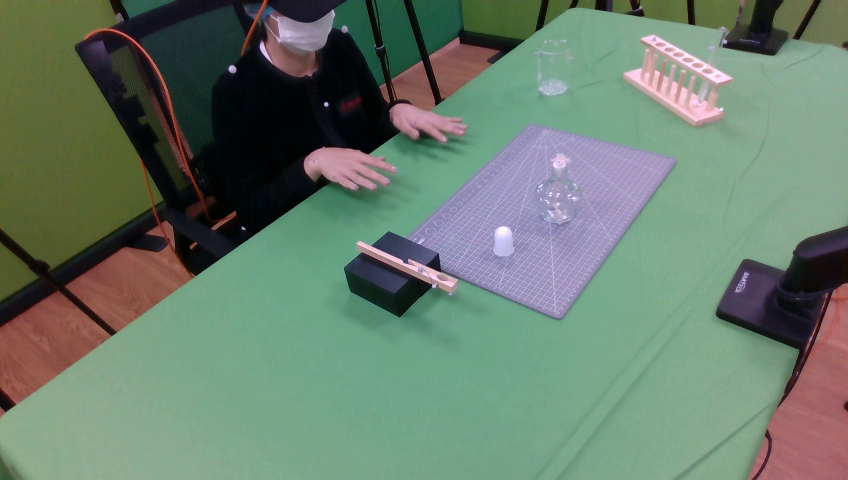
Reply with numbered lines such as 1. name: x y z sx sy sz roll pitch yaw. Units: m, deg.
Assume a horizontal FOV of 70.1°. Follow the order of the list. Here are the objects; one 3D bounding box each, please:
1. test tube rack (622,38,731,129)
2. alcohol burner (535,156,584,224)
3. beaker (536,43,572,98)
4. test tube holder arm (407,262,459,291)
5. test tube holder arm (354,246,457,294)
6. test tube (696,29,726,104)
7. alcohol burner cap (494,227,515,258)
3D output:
1. test tube rack: 0.506 -0.325 1.234 0.067 0.085 0.240 -18 41 -11
2. alcohol burner: 0.217 -0.085 0.967 0.078 0.119 0.077 -3 41 3
3. beaker: 0.280 -0.368 1.311 0.074 0.101 0.084 4 41 14
4. test tube holder arm: 0.010 0.050 0.845 0.087 0.015 0.010 19 37 29
5. test tube holder arm: -0.031 0.040 0.863 0.177 0.015 0.013 19 37 28
6. test tube: 0.544 -0.326 1.150 0.017 0.151 0.017 0 41 1
7. alcohol burner cap: 0.124 0.001 0.936 0.034 0.048 0.033 -4 40 4
